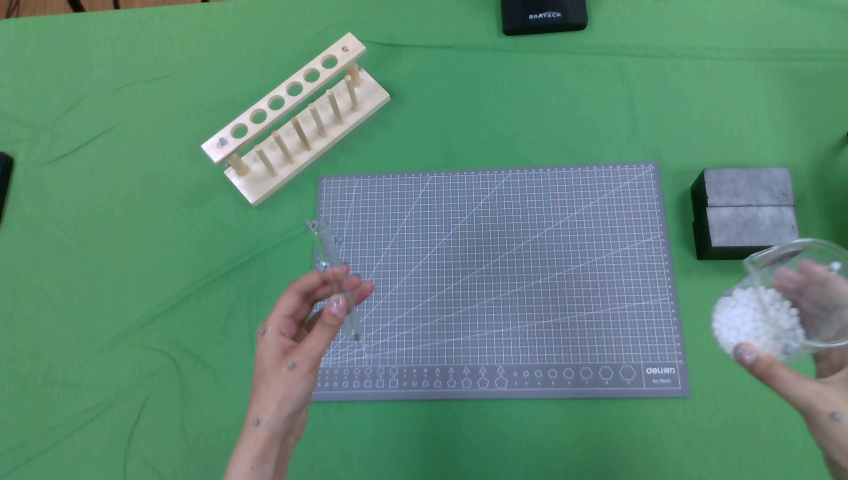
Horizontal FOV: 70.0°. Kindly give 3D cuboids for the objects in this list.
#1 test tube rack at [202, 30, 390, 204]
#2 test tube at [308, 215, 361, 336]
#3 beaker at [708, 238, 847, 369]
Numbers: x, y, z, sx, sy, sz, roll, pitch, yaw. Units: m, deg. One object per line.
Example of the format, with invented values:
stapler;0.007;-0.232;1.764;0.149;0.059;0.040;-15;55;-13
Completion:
test tube rack;-0.163;-0.162;0.804;0.242;0.086;0.066;-41;72;-9
test tube;-0.072;0.036;0.506;0.017;0.152;0.017;-4;48;4
beaker;0.254;0.049;0.437;0.083;0.101;0.074;30;73;16
